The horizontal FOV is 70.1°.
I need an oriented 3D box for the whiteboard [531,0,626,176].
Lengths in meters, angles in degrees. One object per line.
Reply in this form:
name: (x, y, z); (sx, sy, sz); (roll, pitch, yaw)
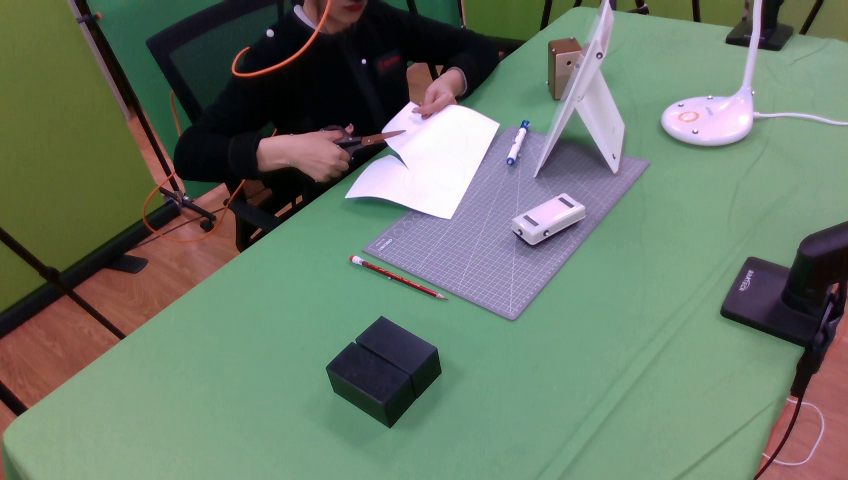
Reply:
whiteboard: (0.321, -0.258, 1.050); (0.144, 0.306, 0.217); (22, 45, 5)

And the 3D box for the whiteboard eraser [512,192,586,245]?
whiteboard eraser: (0.199, -0.032, 0.962); (0.113, 0.042, 0.055); (-27, 43, -20)

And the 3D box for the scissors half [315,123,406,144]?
scissors half: (-0.122, -0.204, 1.166); (0.175, 0.040, 0.013); (0, 24, -6)

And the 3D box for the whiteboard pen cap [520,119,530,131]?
whiteboard pen cap: (0.200, -0.226, 1.204); (0.018, 0.018, 0.033); (7, 41, 18)

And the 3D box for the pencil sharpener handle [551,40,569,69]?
pencil sharpener handle: (0.291, -0.409, 1.321); (0.036, 0.068, 0.030); (2, 40, -6)

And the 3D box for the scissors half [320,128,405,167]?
scissors half: (-0.117, -0.184, 1.174); (0.175, 0.040, 0.012); (-23, 19, 3)

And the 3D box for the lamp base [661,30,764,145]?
lamp base: (0.535, -0.287, 1.096); (0.179, 0.181, 0.159); (-10, 40, -4)

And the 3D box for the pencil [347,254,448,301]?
pencil: (-0.044, 0.058, 0.933); (0.192, 0.012, 0.012); (21, 49, 28)

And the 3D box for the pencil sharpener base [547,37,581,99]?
pencil sharpener base: (0.299, -0.368, 1.290); (0.061, 0.107, 0.076); (-8, 40, 2)

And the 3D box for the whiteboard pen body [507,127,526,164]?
whiteboard pen body: (0.181, -0.189, 1.163); (0.017, 0.017, 0.140); (7, 42, 19)
